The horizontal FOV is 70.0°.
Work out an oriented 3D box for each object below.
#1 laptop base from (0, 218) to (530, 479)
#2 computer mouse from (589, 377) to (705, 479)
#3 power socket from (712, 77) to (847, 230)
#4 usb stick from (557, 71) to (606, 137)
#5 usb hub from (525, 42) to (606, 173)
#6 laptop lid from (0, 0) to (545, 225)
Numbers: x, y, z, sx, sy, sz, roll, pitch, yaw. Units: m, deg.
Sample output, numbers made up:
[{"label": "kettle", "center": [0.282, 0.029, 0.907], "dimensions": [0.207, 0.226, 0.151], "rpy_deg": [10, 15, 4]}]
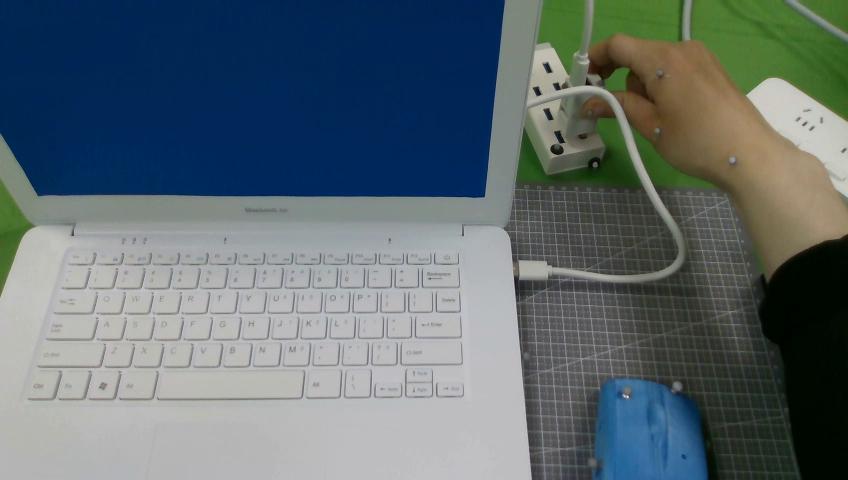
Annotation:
[{"label": "laptop base", "center": [-0.112, 0.092, 0.394], "dimensions": [0.354, 0.023, 0.233], "rpy_deg": [0, 63, -1]}, {"label": "computer mouse", "center": [0.132, 0.136, 0.361], "dimensions": [0.062, 0.041, 0.116], "rpy_deg": [12, 56, 9]}, {"label": "power socket", "center": [0.342, -0.050, 0.482], "dimensions": [0.072, 0.033, 0.225], "rpy_deg": [-35, 66, -21]}, {"label": "usb stick", "center": [0.120, -0.100, 0.470], "dimensions": [0.027, 0.059, 0.021], "rpy_deg": [-16, 57, -6]}, {"label": "usb hub", "center": [0.106, -0.116, 0.517], "dimensions": [0.049, 0.025, 0.124], "rpy_deg": [-13, 61, -8]}, {"label": "laptop lid", "center": [-0.111, -0.093, 0.366], "dimensions": [0.357, 0.244, 0.013], "rpy_deg": [-1, 46, 0]}]
